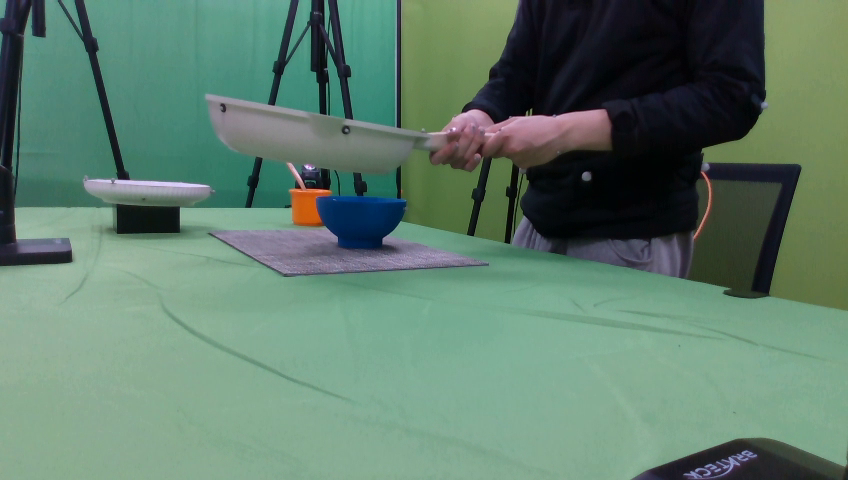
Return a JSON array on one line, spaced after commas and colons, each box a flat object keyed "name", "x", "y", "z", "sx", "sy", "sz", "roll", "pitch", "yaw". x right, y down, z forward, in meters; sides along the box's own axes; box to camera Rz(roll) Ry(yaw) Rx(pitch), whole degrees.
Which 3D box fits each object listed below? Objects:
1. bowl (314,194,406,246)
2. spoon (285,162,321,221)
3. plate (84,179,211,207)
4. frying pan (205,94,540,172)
[{"name": "bowl", "x": -0.106, "y": -0.033, "z": 0.992, "sx": 0.151, "sy": 0.077, "sz": 0.151, "roll": 3, "pitch": 7, "yaw": 0}, {"name": "spoon", "x": -0.269, "y": -0.113, "z": 1.336, "sx": 0.042, "sy": 0.193, "sz": 0.021, "roll": -3, "pitch": -35, "yaw": -43}, {"name": "plate", "x": -0.495, "y": -0.085, "z": 1.093, "sx": 0.208, "sy": 0.039, "sz": 0.207, "roll": 4, "pitch": 7, "yaw": 0}, {"name": "frying pan", "x": -0.056, "y": -0.153, "z": 0.881, "sx": 0.489, "sy": 0.102, "sz": 0.306, "roll": -2, "pitch": 13, "yaw": -13}]
